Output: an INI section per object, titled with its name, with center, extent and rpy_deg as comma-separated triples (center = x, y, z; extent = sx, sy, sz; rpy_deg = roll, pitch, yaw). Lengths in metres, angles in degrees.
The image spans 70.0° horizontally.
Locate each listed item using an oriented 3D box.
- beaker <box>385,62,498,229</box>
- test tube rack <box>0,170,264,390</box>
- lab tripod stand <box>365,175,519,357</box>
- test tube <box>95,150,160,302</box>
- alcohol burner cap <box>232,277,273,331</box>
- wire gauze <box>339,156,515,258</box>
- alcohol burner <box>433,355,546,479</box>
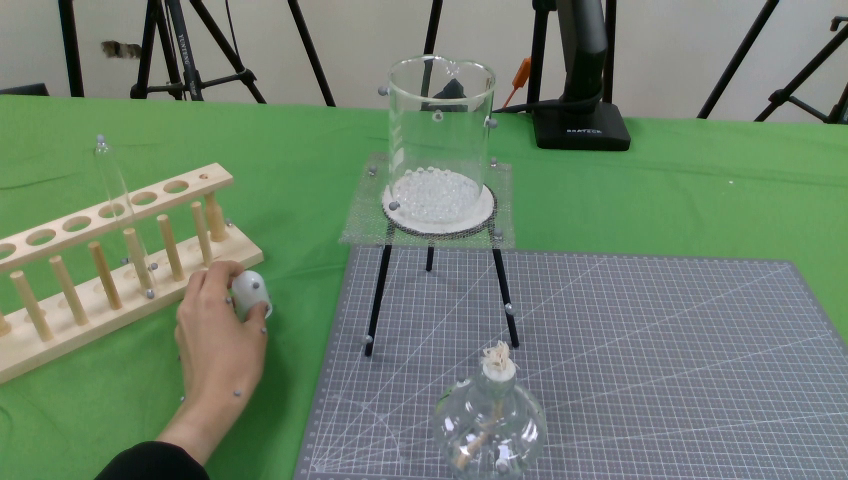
[beaker]
center = 0.011, -0.066, 0.431
extent = 0.074, 0.101, 0.083
rpy_deg = 10, 38, 8
[test tube rack]
center = -0.272, 0.026, 0.537
extent = 0.242, 0.086, 0.066
rpy_deg = -28, 46, -32
[lab tripod stand]
center = 0.015, 0.025, 0.501
extent = 0.148, 0.132, 0.147
rpy_deg = 2, 37, -1
[test tube]
center = -0.247, -0.007, 0.508
extent = 0.017, 0.151, 0.017
rpy_deg = 1, 37, -1
[alcohol burner cap]
center = -0.154, 0.054, 0.541
extent = 0.034, 0.048, 0.033
rpy_deg = 1, 38, -1
[wire gauze]
center = 0.007, -0.026, 0.459
extent = 0.121, 0.011, 0.124
rpy_deg = 4, 40, 4
[alcohol burner]
center = 0.044, 0.116, 0.401
extent = 0.078, 0.120, 0.077
rpy_deg = 1, 40, -1
